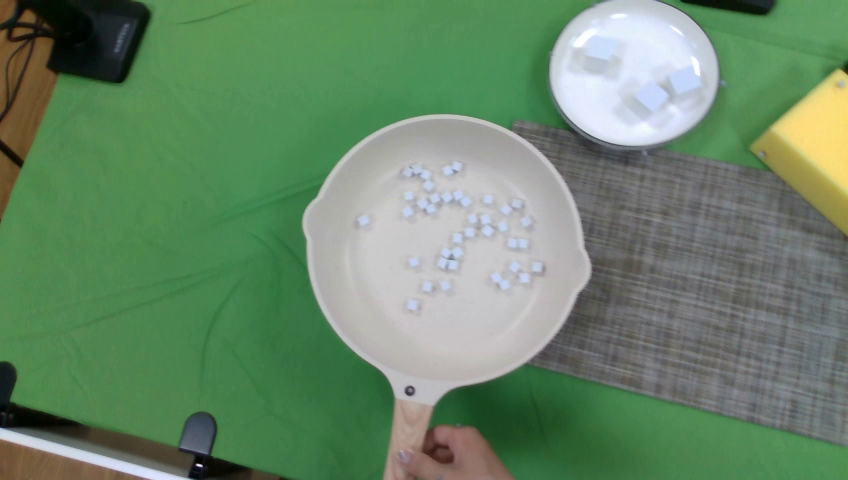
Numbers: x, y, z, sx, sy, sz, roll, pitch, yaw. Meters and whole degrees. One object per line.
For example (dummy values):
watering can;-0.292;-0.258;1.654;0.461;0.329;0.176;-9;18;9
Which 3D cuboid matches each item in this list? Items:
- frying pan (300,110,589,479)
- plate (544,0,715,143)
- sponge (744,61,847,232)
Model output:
frying pan;-0.001;0.101;0.630;0.306;0.103;0.485;12;71;4
plate;0.255;-0.217;0.767;0.207;0.039;0.206;-1;78;4
sponge;0.504;-0.093;0.706;0.118;0.061;0.205;-41;76;-7
